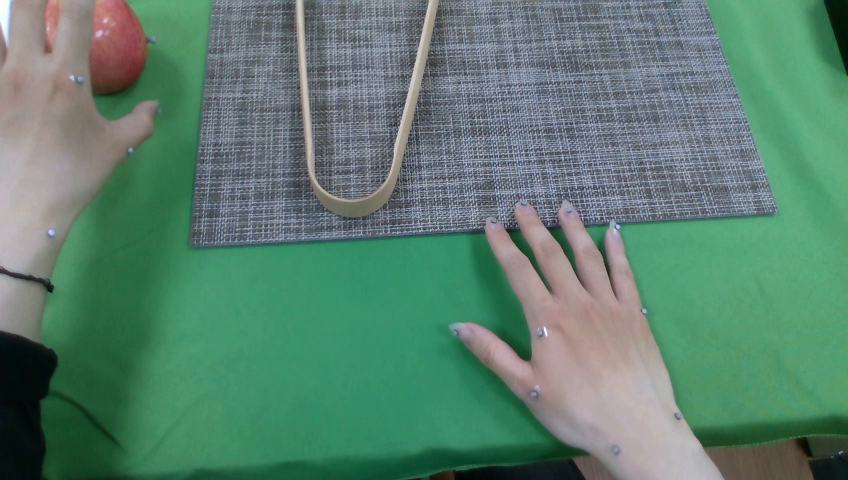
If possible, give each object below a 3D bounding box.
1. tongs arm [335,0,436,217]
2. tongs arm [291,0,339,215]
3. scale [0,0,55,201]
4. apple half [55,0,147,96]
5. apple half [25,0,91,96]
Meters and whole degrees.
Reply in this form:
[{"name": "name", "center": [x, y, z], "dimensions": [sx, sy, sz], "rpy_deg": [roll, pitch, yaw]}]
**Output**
[{"name": "tongs arm", "center": [-0.016, -0.193, 0.524], "dimensions": [0.051, 0.027, 0.382], "rpy_deg": [8, 66, 0]}, {"name": "tongs arm", "center": [-0.101, -0.196, 0.524], "dimensions": [0.028, 0.028, 0.384], "rpy_deg": [-4, 66, -9]}, {"name": "scale", "center": [-0.373, -0.117, 0.481], "dimensions": [0.149, 0.032, 0.199], "rpy_deg": [-8, 67, -5]}, {"name": "apple half", "center": [-0.251, -0.157, 0.481], "dimensions": [0.053, 0.075, 0.080], "rpy_deg": [-12, 63, -10]}, {"name": "apple half", "center": [-0.288, -0.148, 0.475], "dimensions": [0.033, 0.082, 0.080], "rpy_deg": [-12, 66, -10]}]
